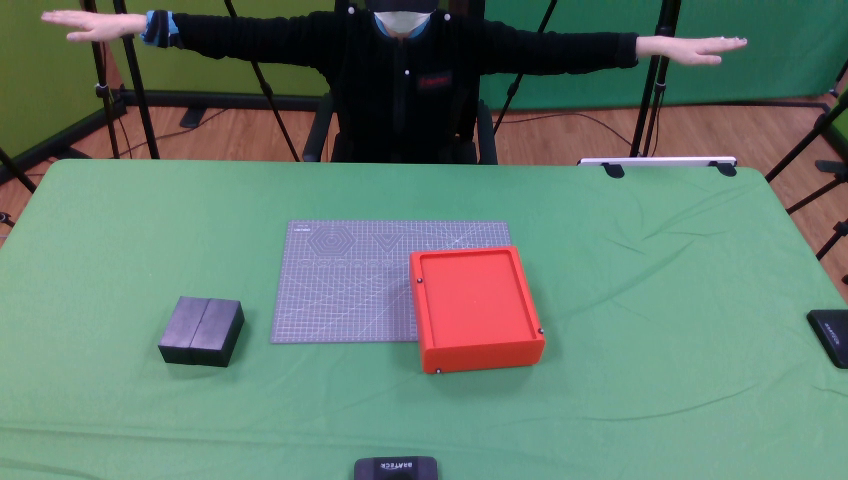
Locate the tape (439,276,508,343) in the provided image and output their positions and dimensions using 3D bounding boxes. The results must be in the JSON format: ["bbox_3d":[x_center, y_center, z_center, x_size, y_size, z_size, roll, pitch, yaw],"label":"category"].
[{"bbox_3d":[0.084,0.119,1.052,0.117,0.053,0.116,2,45,-2],"label":"tape"}]

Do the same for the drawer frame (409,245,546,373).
[{"bbox_3d":[0.084,0.113,1.049,0.202,0.083,0.212,-4,48,-8],"label":"drawer frame"}]

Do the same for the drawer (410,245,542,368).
[{"bbox_3d":[0.083,0.111,1.051,0.195,0.073,0.210,-3,47,-8],"label":"drawer"}]
